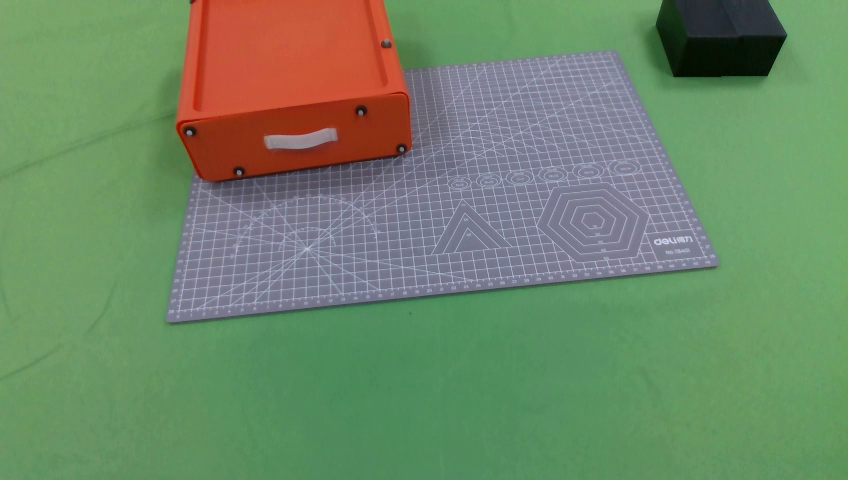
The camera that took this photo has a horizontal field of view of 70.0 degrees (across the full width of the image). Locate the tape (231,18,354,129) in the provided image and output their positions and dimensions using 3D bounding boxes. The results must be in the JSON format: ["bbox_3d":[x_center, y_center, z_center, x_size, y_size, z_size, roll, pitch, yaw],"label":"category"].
[{"bbox_3d":[-0.130,-0.169,0.611,0.117,0.053,0.115,0,54,1],"label":"tape"}]

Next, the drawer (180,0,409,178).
[{"bbox_3d":[-0.128,-0.168,0.603,0.195,0.074,0.209,-10,52,-5],"label":"drawer"}]

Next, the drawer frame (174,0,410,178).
[{"bbox_3d":[-0.130,-0.171,0.604,0.202,0.083,0.211,-10,52,-5],"label":"drawer frame"}]
